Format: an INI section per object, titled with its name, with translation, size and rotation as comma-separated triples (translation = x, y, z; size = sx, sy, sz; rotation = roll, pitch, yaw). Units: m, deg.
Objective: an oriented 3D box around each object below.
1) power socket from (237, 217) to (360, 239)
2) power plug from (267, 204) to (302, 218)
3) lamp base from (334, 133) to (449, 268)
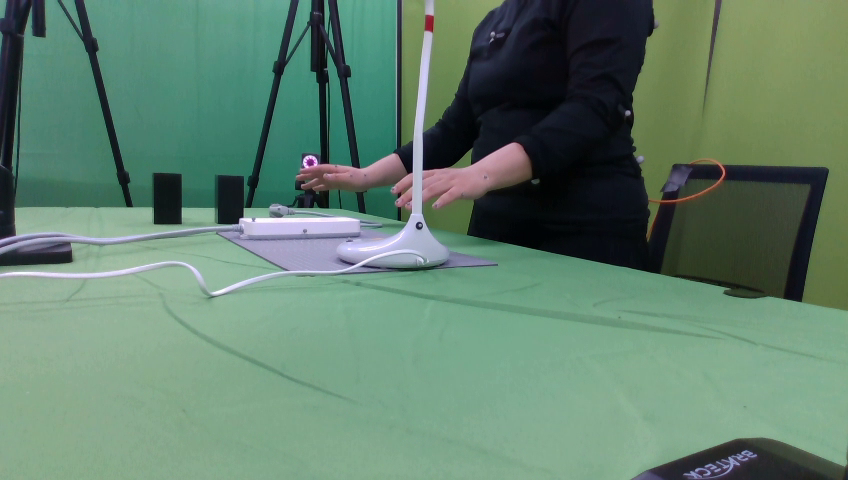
[power socket]
translation = -0.221, -0.023, 1.080
size = 0.228, 0.032, 0.072
rotation = -2, 8, -33
[power plug]
translation = -0.327, -0.060, 1.404
size = 0.073, 0.035, 0.052
rotation = 22, -14, -26
[lamp base]
translation = -0.034, -0.057, 0.831
size = 0.161, 0.180, 0.178
rotation = -3, 12, -36
